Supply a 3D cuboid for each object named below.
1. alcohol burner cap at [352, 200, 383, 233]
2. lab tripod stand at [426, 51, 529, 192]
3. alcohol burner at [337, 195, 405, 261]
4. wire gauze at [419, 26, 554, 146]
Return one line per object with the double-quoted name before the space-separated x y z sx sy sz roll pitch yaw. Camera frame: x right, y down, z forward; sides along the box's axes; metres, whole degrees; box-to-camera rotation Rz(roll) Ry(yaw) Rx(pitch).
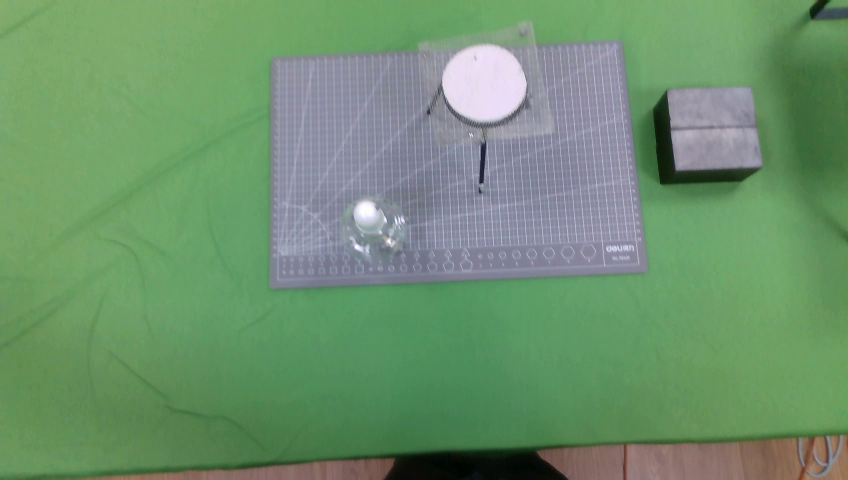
"alcohol burner cap" -0.062 -0.027 0.642 0.034 0.048 0.033 0 81 -1
"lab tripod stand" 0.067 -0.145 0.692 0.148 0.132 0.147 0 76 1
"alcohol burner" -0.060 -0.018 0.678 0.078 0.119 0.077 0 77 0
"wire gauze" 0.063 -0.158 0.626 0.125 0.011 0.121 -8 78 -2
